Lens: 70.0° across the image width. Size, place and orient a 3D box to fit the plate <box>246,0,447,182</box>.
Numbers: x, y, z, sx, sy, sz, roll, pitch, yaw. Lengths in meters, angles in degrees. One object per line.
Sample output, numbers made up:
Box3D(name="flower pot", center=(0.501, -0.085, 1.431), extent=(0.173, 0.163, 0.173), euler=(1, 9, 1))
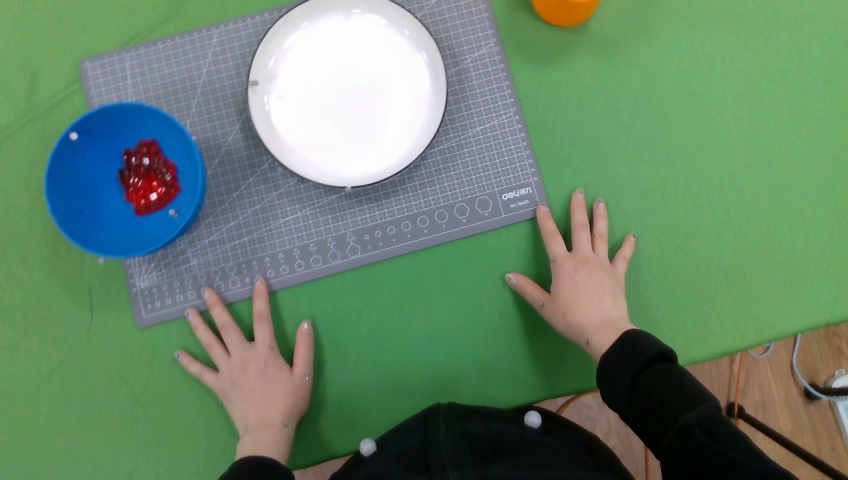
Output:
Box3D(name="plate", center=(-0.079, -0.162, 0.638), extent=(0.209, 0.038, 0.208), euler=(0, 85, 0))

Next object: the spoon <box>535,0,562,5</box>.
Box3D(name="spoon", center=(0.189, -0.279, 0.596), extent=(0.022, 0.193, 0.041), euler=(0, 85, -44))

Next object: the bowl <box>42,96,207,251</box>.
Box3D(name="bowl", center=(-0.284, -0.060, 0.608), extent=(0.151, 0.077, 0.151), euler=(0, 85, 0))
